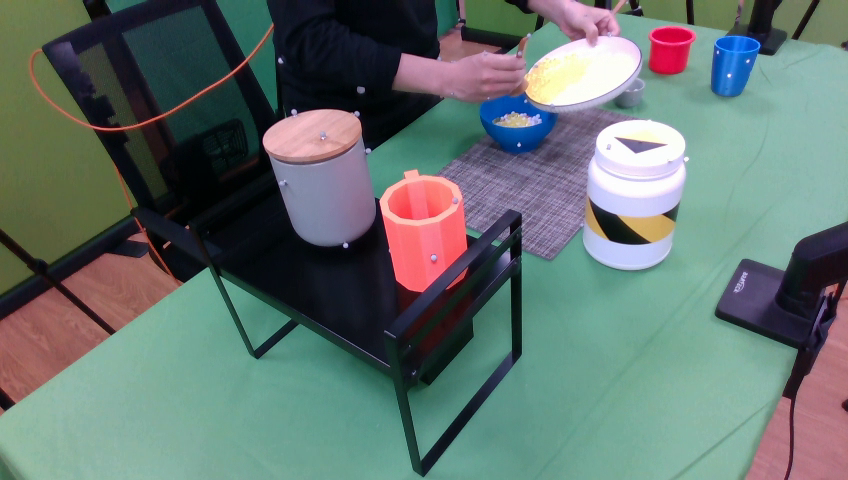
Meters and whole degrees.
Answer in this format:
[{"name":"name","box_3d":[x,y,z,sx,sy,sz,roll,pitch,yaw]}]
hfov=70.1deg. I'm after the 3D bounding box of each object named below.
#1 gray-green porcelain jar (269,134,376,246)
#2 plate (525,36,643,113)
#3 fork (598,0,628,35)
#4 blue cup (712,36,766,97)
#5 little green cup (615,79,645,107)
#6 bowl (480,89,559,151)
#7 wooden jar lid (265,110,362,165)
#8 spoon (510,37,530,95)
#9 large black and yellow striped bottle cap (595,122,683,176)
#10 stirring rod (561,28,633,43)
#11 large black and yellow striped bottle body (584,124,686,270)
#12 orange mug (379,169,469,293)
[{"name":"gray-green porcelain jar","box_3d":[-0.115,-0.064,0.715,0.106,0.127,0.105,-4,40,4]},{"name":"plate","box_3d":[0.286,-0.292,1.088,0.208,0.038,0.208,-15,42,14]},{"name":"fork","box_3d":[0.413,-0.481,1.377,0.207,0.019,0.028,-56,43,12]},{"name":"blue cup","box_3d":[0.627,-0.350,1.227,0.092,0.100,0.092,-4,39,4]},{"name":"little green cup","box_3d":[0.426,-0.306,1.257,0.061,0.039,0.061,-4,40,4]},{"name":"bowl","box_3d":[0.185,-0.223,1.160,0.151,0.077,0.150,-6,40,5]},{"name":"wooden jar lid","box_3d":[-0.122,-0.112,0.673,0.108,0.021,0.108,-4,37,4]},{"name":"spoon","box_3d":[0.160,-0.288,1.010,0.041,0.194,0.021,-28,74,2]},{"name":"large black and yellow striped bottle cap","box_3d":[0.293,-0.126,0.826,0.115,0.019,0.114,-3,40,3]},{"name":"stirring rod","box_3d":[0.382,-0.454,1.345,0.174,0.006,0.014,27,52,34]},{"name":"large black and yellow striped bottle body","box_3d":[0.304,-0.063,0.880,0.131,0.185,0.130,-5,41,5]},{"name":"orange mug","box_3d":[-0.002,-0.019,0.665,0.083,0.101,0.125,-12,45,-4]}]
